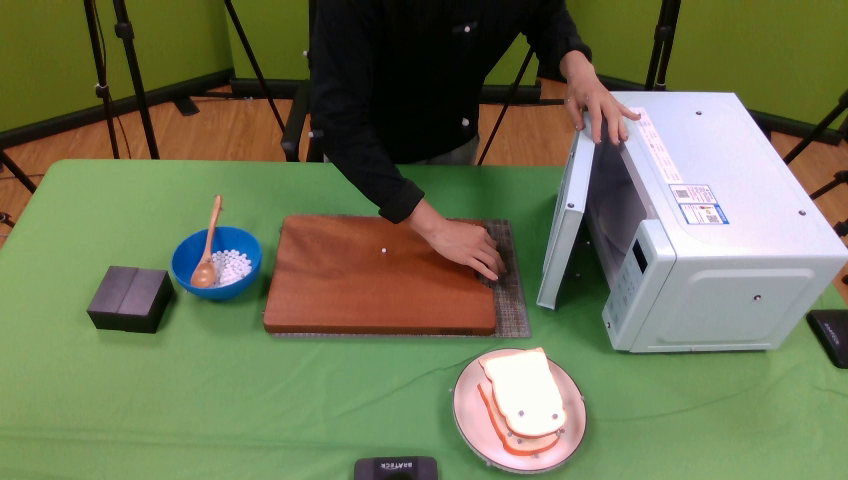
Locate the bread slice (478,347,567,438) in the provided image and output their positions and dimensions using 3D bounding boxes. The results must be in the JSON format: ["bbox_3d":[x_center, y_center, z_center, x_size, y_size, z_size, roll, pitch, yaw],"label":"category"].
[{"bbox_3d":[0.152,0.227,0.901,0.107,0.018,0.133,-11,54,-16],"label":"bread slice"}]

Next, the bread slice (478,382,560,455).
[{"bbox_3d":[0.154,0.268,0.944,0.105,0.019,0.130,-10,47,-12],"label":"bread slice"}]

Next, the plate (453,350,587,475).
[{"bbox_3d":[0.147,0.267,0.943,0.208,0.039,0.206,2,46,-2],"label":"plate"}]

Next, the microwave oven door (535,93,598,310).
[{"bbox_3d":[0.270,-0.081,1.125,0.039,0.245,0.354,14,46,9],"label":"microwave oven door"}]

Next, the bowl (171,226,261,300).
[{"bbox_3d":[-0.363,0.054,1.081,0.151,0.077,0.150,3,45,-2],"label":"bowl"}]

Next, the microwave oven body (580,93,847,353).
[{"bbox_3d":[0.475,-0.041,1.109,0.326,0.261,0.438,-1,45,-4],"label":"microwave oven body"}]

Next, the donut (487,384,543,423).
[{"bbox_3d":[0.146,0.242,0.928,0.099,0.048,0.098,-3,40,3],"label":"donut"}]

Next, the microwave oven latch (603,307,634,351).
[{"bbox_3d":[0.332,0.153,1.044,0.030,0.029,0.078,0,45,-3],"label":"microwave oven latch"}]

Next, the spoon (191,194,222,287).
[{"bbox_3d":[-0.383,0.000,1.088,0.041,0.022,0.193,-1,66,7],"label":"spoon"}]
